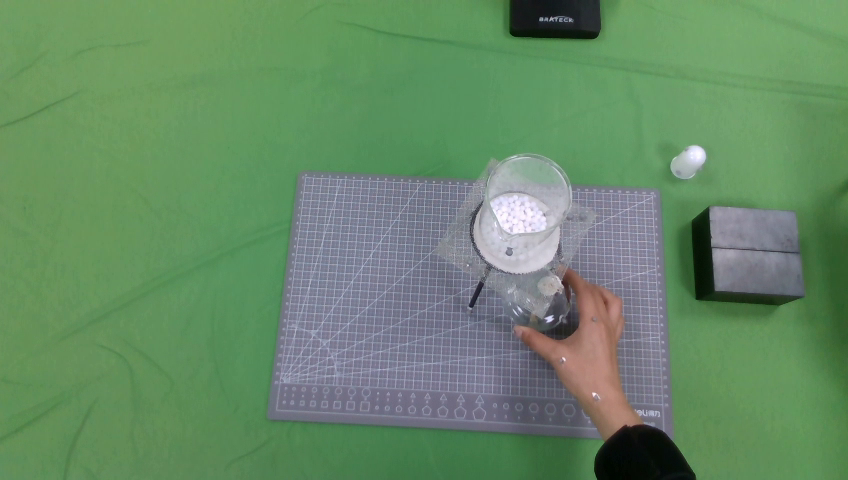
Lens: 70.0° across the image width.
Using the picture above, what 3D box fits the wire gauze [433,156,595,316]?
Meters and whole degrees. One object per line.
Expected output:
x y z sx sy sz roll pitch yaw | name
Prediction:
0.089 -0.008 0.597 0.125 0.011 0.121 31 77 6 | wire gauze

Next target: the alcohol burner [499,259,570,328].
0.122 0.055 0.654 0.078 0.119 0.077 0 74 0 | alcohol burner

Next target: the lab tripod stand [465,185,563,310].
0.092 0.005 0.661 0.148 0.132 0.147 0 72 -1 | lab tripod stand

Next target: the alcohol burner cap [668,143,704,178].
0.323 -0.100 0.742 0.034 0.048 0.033 0 73 1 | alcohol burner cap

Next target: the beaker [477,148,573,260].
0.085 -0.025 0.551 0.074 0.101 0.083 27 75 8 | beaker
